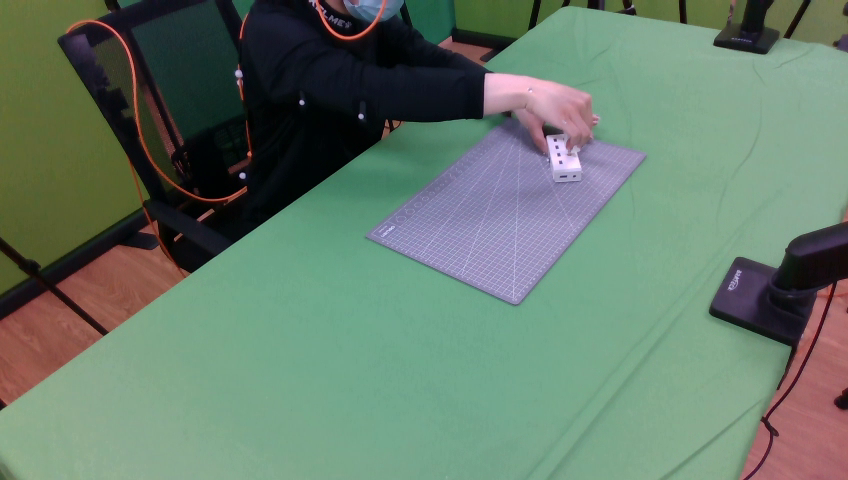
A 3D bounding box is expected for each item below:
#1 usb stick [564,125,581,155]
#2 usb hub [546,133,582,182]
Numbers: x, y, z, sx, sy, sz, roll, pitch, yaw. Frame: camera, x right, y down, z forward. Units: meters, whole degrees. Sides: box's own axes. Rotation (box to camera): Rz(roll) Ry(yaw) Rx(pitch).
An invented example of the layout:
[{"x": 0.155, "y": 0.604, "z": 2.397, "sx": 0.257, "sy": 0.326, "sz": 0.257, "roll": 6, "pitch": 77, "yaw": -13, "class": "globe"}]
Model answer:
[{"x": 0.264, "y": -0.174, "z": 1.073, "sx": 0.027, "sy": 0.059, "sz": 0.021, "roll": -7, "pitch": 42, "yaw": 6, "class": "usb stick"}, {"x": 0.255, "y": -0.152, "z": 1.103, "sx": 0.049, "sy": 0.025, "sz": 0.124, "roll": -3, "pitch": 41, "yaw": 5, "class": "usb hub"}]
